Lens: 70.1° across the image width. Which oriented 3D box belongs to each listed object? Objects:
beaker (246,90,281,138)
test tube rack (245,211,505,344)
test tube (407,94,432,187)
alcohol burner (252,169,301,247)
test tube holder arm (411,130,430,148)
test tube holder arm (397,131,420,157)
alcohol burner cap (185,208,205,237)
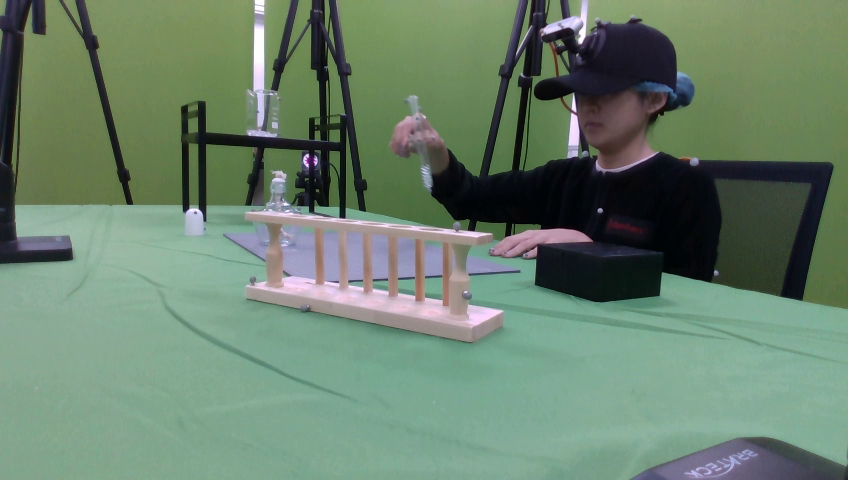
[{"bbox_3d":[-0.354,-0.275,1.322,0.074,0.100,0.084,4,8,12],"label":"beaker"},{"bbox_3d":[-0.049,0.025,0.547,0.241,0.085,0.067,7,8,29],"label":"test tube rack"},{"bbox_3d":[-0.007,-0.158,0.964,0.017,0.150,0.017,-10,1,0],"label":"test tube"},{"bbox_3d":[-0.227,-0.050,0.936,0.078,0.119,0.078,1,7,0],"label":"alcohol burner"},{"bbox_3d":[-0.011,-0.165,0.988,0.010,0.015,0.087,-9,1,-21],"label":"test tube holder arm"},{"bbox_3d":[-0.028,-0.162,1.030,0.013,0.015,0.178,-8,0,-13],"label":"test tube holder arm"},{"bbox_3d":[-0.391,-0.031,1.032,0.034,0.048,0.034,3,8,0],"label":"alcohol burner cap"}]
